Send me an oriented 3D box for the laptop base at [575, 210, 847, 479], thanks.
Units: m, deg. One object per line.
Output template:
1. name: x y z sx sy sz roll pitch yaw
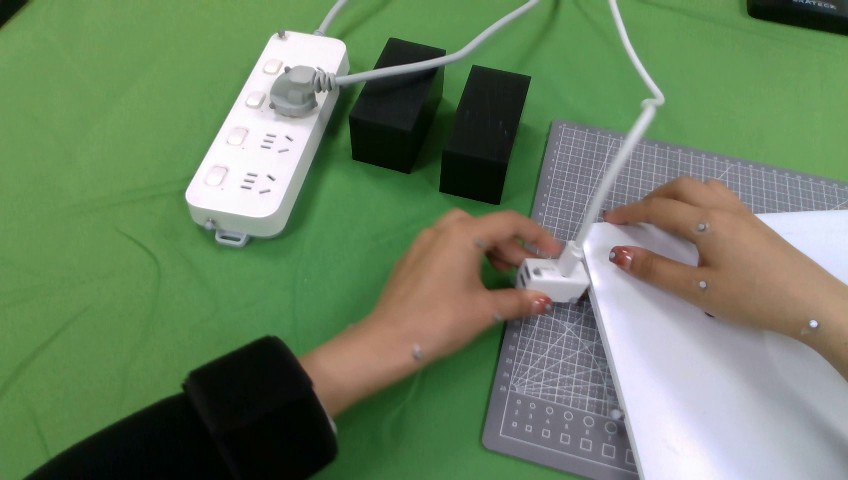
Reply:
1. laptop base: 0.295 0.080 0.412 0.355 0.023 0.233 -3 59 -5

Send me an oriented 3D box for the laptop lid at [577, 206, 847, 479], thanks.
1. laptop lid: 0.296 0.075 0.401 0.357 0.013 0.239 -2 58 -4

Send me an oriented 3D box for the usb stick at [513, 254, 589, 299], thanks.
1. usb stick: 0.095 0.026 0.425 0.059 0.027 0.021 6 46 -20

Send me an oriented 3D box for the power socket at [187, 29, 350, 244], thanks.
1. power socket: -0.121 -0.097 0.501 0.072 0.033 0.225 12 56 4

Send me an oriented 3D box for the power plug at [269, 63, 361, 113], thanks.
1. power plug: -0.089 -0.112 0.484 0.072 0.053 0.035 20 57 10
